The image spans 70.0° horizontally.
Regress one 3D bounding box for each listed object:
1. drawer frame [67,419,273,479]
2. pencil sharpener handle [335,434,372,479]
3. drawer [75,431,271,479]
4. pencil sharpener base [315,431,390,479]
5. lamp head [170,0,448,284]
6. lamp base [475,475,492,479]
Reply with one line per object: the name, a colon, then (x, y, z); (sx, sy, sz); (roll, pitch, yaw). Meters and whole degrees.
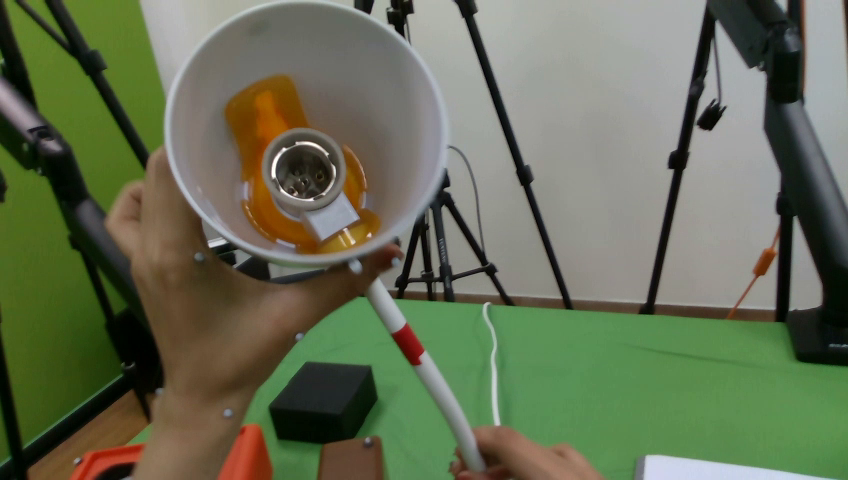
drawer frame: (-0.265, 0.285, 0.586); (0.202, 0.083, 0.212); (-10, 21, -3)
pencil sharpener handle: (-0.071, 0.218, 0.617); (0.036, 0.068, 0.030); (-4, 21, -5)
drawer: (-0.262, 0.288, 0.584); (0.194, 0.074, 0.210); (-10, 20, -2)
pencil sharpener base: (-0.062, 0.247, 0.574); (0.061, 0.108, 0.076); (-10, 22, -3)
lamp head: (-0.053, -0.033, 0.296); (0.112, 0.112, 0.123); (-14, -11, -14)
lamp base: (0.054, 0.261, 0.394); (0.161, 0.181, 0.178); (-12, 19, -6)
